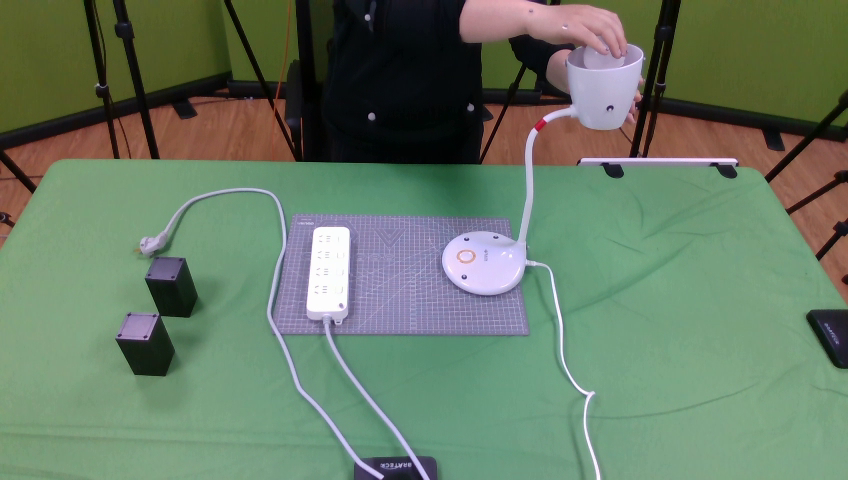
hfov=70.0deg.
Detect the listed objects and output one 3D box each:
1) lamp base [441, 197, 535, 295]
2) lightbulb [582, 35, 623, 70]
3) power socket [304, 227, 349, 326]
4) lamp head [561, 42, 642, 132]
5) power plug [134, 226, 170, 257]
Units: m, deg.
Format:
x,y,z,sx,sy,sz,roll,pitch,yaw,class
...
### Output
x,y,z,sx,sy,sz,roll,pitch,yaw,class
0.130,-0.012,1.105,0.179,0.181,0.159,-1,46,-9,lamp base
0.271,-0.256,0.920,0.059,0.108,0.059,-6,30,4,lightbulb
-0.177,0.059,1.115,0.072,0.033,0.225,-1,46,-4,power socket
0.270,-0.229,0.935,0.112,0.123,0.112,-2,37,2,lamp head
-0.515,0.006,1.153,0.052,0.035,0.072,-6,24,6,power plug
